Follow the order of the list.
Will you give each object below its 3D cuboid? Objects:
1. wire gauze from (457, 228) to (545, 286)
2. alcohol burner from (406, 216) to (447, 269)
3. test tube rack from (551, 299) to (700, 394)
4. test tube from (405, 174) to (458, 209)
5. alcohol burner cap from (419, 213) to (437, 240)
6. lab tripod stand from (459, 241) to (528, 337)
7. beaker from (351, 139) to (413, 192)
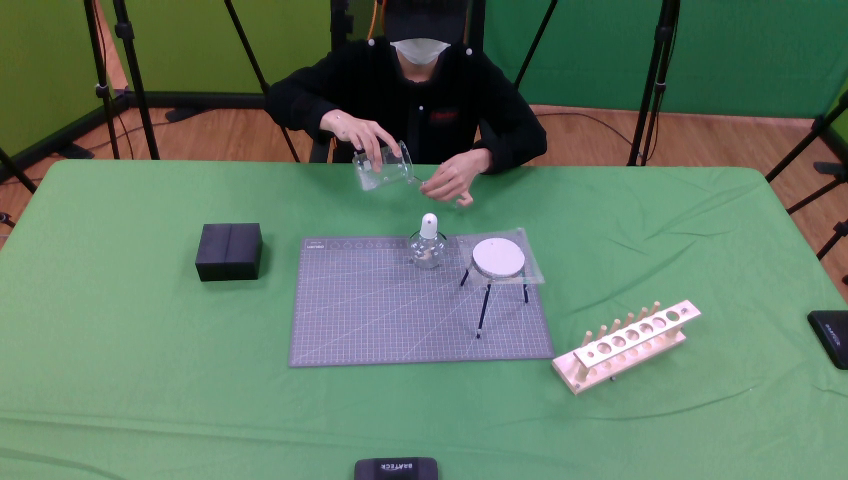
[{"bbox_3d":[0.126,0.029,1.006,0.125,0.011,0.120,-4,46,-10],"label":"wire gauze"},{"bbox_3d":[0.006,-0.002,1.134,0.078,0.120,0.077,2,48,-2],"label":"alcohol burner"},{"bbox_3d":[0.339,0.166,1.021,0.242,0.085,0.066,-19,50,-21],"label":"test tube rack"},{"bbox_3d":[0.018,-0.096,1.215,0.151,0.017,0.017,27,29,-42],"label":"test tube"},{"bbox_3d":[0.009,-0.027,1.109,0.034,0.048,0.033,3,44,-3],"label":"alcohol burner cap"},{"bbox_3d":[0.122,0.075,1.054,0.148,0.132,0.147,3,44,-3],"label":"lab tripod stand"},{"bbox_3d":[-0.080,-0.135,1.133,0.100,0.084,0.073,-19,42,-10],"label":"beaker"}]
